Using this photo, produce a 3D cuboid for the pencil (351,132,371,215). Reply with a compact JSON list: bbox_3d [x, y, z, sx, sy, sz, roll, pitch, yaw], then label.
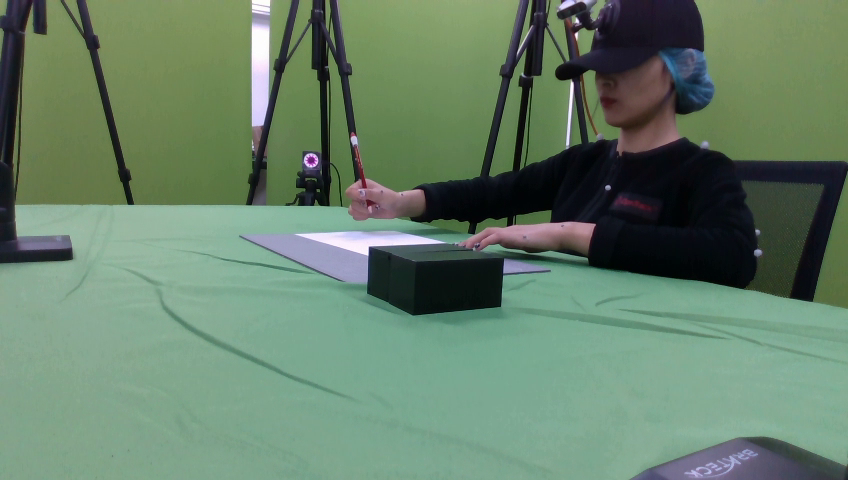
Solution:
[{"bbox_3d":[-0.117,-0.126,1.132,0.012,0.193,0.012,-12,-29,-6],"label":"pencil"}]
